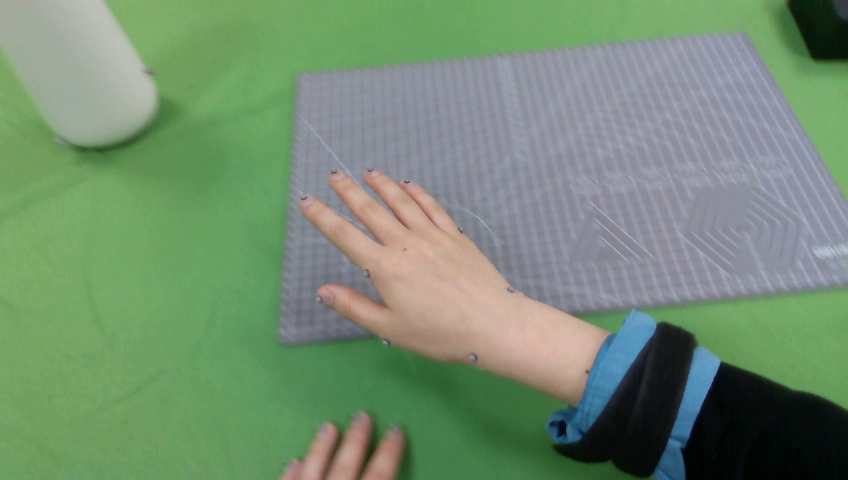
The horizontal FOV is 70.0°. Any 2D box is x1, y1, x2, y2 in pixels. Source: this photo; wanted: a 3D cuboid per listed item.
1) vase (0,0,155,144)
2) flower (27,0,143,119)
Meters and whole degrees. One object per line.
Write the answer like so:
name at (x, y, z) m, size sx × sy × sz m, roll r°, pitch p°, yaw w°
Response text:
vase at (-0.303, -0.174, 0.498) m, size 0.098 × 0.202 × 0.097 m, roll -1°, pitch 55°, yaw 2°
flower at (-0.330, -0.222, 0.434) m, size 0.038 × 0.366 × 0.044 m, roll 15°, pitch 62°, yaw 34°
